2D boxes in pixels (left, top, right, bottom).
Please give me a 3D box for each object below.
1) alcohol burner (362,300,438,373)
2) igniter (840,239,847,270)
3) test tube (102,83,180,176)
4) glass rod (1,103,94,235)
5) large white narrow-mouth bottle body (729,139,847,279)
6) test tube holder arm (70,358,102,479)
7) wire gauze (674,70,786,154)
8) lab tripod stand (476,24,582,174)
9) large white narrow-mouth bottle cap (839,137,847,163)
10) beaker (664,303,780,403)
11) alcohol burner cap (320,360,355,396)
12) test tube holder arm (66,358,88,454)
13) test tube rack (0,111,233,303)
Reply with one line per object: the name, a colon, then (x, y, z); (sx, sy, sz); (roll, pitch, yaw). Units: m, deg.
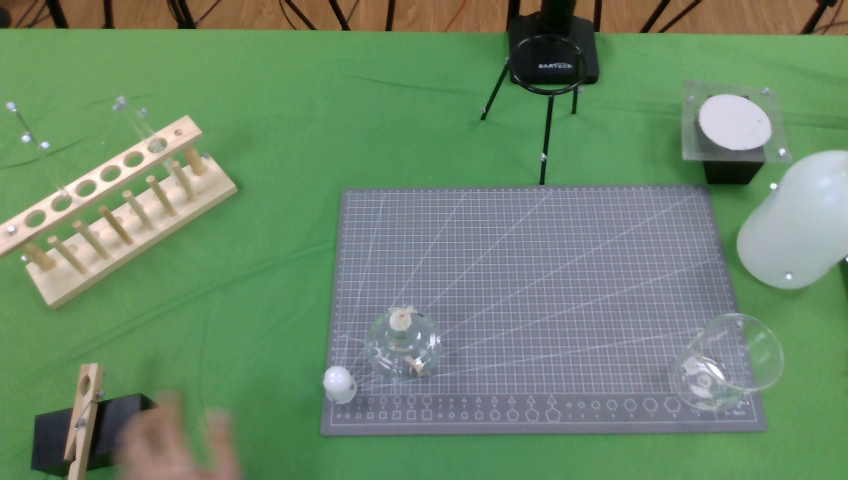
alcohol burner: (-0.024, 0.090, 0.600); (0.078, 0.120, 0.077); (1, 61, -1)
igniter: (0.481, 0.102, 0.638); (0.057, 0.025, 0.274); (9, 62, -6)
test tube: (-0.311, -0.118, 0.677); (0.017, 0.151, 0.017); (-3, 61, 5)
glass rod: (-0.386, -0.064, 0.631); (0.008, 0.201, 0.008); (2, 53, -2)
large white narrow-mouth bottle body: (0.399, -0.041, 0.620); (0.102, 0.196, 0.101); (0, 61, 1)
test tube holder arm: (-0.314, 0.196, 0.553); (0.013, 0.015, 0.177); (-9, 66, 6)
wire gauze: (0.364, -0.154, 0.730); (0.121, 0.011, 0.124); (6, 62, 4)
lab tripod stand: (0.134, -0.175, 0.729); (0.148, 0.132, 0.147); (0, 63, 0)
large white narrow-mouth bottle cap: (0.397, -0.084, 0.544); (0.038, 0.024, 0.037); (0, 62, 1)
beaker: (0.281, 0.114, 0.590); (0.084, 0.101, 0.073); (4, 62, 5)
alcohol burner cap: (-0.090, 0.139, 0.616); (0.034, 0.048, 0.033); (-1, 65, 2)
test tube holder arm: (-0.324, 0.156, 0.572); (0.010, 0.015, 0.087); (-8, 66, 6)
test tube rack: (-0.351, -0.039, 0.692); (0.242, 0.086, 0.066); (-37, 68, -17)
